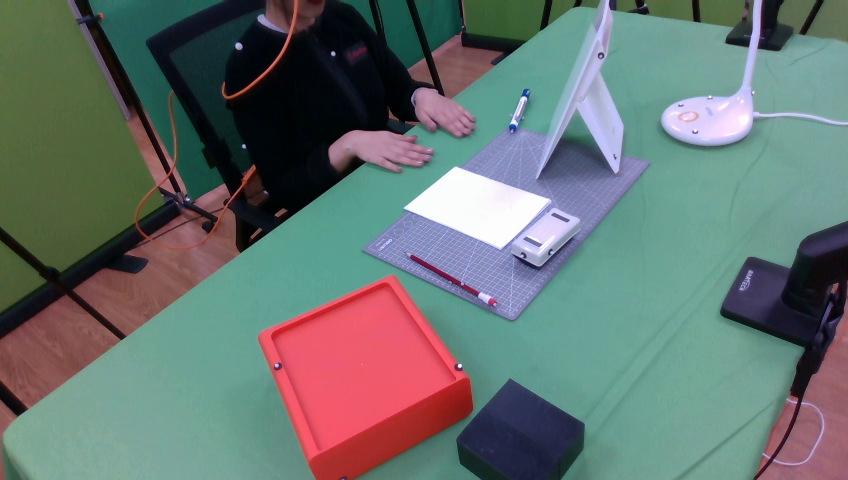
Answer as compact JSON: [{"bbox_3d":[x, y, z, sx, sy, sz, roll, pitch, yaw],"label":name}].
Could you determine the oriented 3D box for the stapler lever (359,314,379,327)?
[{"bbox_3d":[-0.106,0.127,0.792,0.118,0.040,0.026,-14,26,2],"label":"stapler lever"}]

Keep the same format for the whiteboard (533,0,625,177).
[{"bbox_3d":[0.321,-0.258,1.049,0.144,0.306,0.217,20,45,4],"label":"whiteboard"}]

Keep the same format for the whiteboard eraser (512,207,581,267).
[{"bbox_3d":[0.189,-0.003,0.930,0.055,0.042,0.113,27,52,36],"label":"whiteboard eraser"}]

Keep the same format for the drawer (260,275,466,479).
[{"bbox_3d":[-0.080,0.163,0.760,0.195,0.073,0.210,-22,42,-16],"label":"drawer"}]

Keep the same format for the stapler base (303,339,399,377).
[{"bbox_3d":[-0.099,0.150,0.805,0.130,0.024,0.041,-12,25,1],"label":"stapler base"}]

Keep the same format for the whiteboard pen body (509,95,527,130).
[{"bbox_3d":[0.199,-0.273,1.262,0.017,0.017,0.140,7,44,19],"label":"whiteboard pen body"}]

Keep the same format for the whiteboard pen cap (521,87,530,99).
[{"bbox_3d":[0.218,-0.313,1.301,0.018,0.018,0.033,7,47,18],"label":"whiteboard pen cap"}]

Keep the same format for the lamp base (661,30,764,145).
[{"bbox_3d":[0.535,-0.287,1.096,0.179,0.181,0.159,-10,40,-4],"label":"lamp base"}]

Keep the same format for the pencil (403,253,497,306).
[{"bbox_3d":[0.034,0.056,0.914,0.192,0.012,0.012,27,52,38],"label":"pencil"}]

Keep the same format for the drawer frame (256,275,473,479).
[{"bbox_3d":[-0.078,0.164,0.756,0.202,0.083,0.211,-23,43,-17],"label":"drawer frame"}]
